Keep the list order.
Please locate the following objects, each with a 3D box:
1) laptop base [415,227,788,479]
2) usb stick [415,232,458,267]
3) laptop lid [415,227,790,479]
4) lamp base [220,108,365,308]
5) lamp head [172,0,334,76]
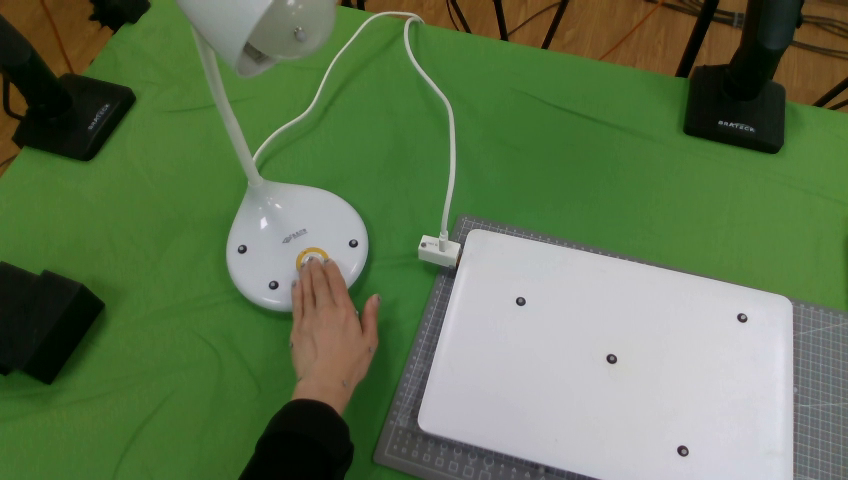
[{"bbox_3d":[0.188,0.123,0.626,0.353,0.023,0.234,13,65,8],"label":"laptop base"},{"bbox_3d":[0.020,0.012,0.677,0.059,0.027,0.021,17,57,6],"label":"usb stick"},{"bbox_3d":[0.187,0.120,0.615,0.356,0.013,0.240,14,64,9],"label":"laptop lid"},{"bbox_3d":[-0.158,-0.041,0.631,0.160,0.182,0.177,-40,64,-20],"label":"lamp base"},{"bbox_3d":[-0.116,-0.176,0.358,0.123,0.112,0.112,42,67,-4],"label":"lamp head"}]
